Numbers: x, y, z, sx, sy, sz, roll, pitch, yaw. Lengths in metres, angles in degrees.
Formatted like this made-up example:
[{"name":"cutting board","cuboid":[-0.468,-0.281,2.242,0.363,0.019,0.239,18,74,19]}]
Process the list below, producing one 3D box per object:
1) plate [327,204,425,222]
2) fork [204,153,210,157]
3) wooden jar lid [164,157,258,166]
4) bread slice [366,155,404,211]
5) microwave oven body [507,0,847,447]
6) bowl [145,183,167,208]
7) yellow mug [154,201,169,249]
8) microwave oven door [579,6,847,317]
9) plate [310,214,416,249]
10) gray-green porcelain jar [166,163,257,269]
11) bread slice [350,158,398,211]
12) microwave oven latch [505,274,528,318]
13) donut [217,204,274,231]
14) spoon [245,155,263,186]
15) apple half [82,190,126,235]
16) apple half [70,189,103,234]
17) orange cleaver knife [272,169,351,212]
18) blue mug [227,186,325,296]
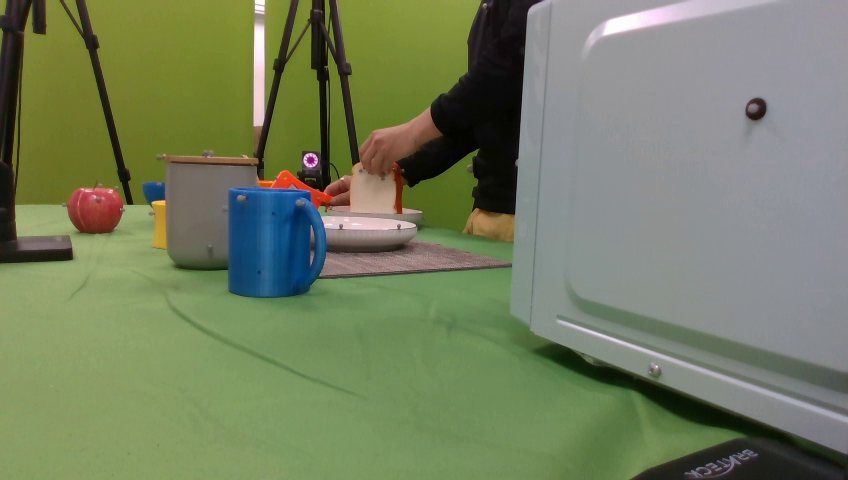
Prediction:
[{"name":"plate","cuboid":[-0.102,-0.053,1.299,0.209,0.038,0.209,2,7,0]},{"name":"fork","cuboid":[-0.480,-0.135,1.411,0.028,0.018,0.207,0,-34,-1]},{"name":"wooden jar lid","cuboid":[-0.261,-0.093,0.746,0.108,0.020,0.108,1,9,0]},{"name":"bread slice","cuboid":[-0.091,-0.116,1.307,0.105,0.131,0.019,6,13,13]},{"name":"microwave oven body","cuboid":[0.331,-0.042,0.425,0.444,0.260,0.324,-2,8,-31]},{"name":"bowl","cuboid":[-0.459,-0.068,1.175,0.151,0.077,0.151,2,7,0]},{"name":"yellow mug","cuboid":[-0.337,-0.022,0.899,0.130,0.064,0.100,8,9,34]},{"name":"microwave oven door","cuboid":[0.294,-0.067,0.570,0.358,0.243,0.039,-3,9,-31]},{"name":"plate","cuboid":[-0.117,-0.014,0.967,0.208,0.039,0.207,2,7,0]},{"name":"gray-green porcelain jar","cuboid":[-0.263,-0.031,0.754,0.106,0.126,0.106,2,7,0]},{"name":"bread slice","cuboid":[-0.105,-0.102,1.256,0.107,0.134,0.018,0,10,11]},{"name":"microwave oven latch","cuboid":[0.100,0.041,0.471,0.079,0.029,0.030,-1,8,-28]},{"name":"donut","cuboid":[-0.317,-0.038,1.080,0.099,0.048,0.099,3,7,0]},{"name":"spoon","cuboid":[-0.421,-0.150,1.540,0.042,0.021,0.193,-5,55,-37]},{"name":"apple half","cuboid":[-0.516,-0.046,0.994,0.032,0.081,0.081,0,6,26]},{"name":"apple half","cuboid":[-0.552,-0.048,1.010,0.053,0.074,0.081,-1,9,26]},{"name":"orange cleaver knife","cuboid":[-0.254,-0.094,1.367,0.212,0.077,0.012,22,-6,-43]},{"name":"blue mug","cuboid":[-0.146,0.000,0.618,0.116,0.106,0.083,7,9,32]}]
